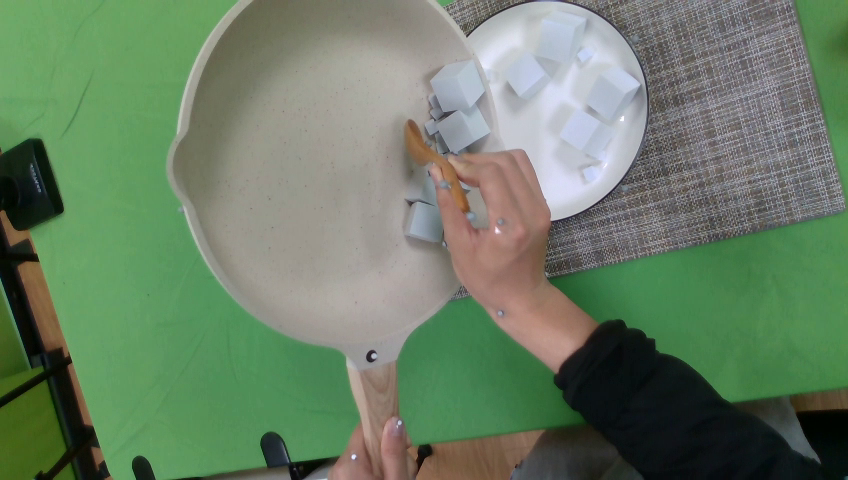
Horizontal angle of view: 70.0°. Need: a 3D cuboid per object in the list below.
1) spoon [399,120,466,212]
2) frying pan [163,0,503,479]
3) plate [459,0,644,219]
[{"bbox_3d":[0.005,-0.060,0.464,0.021,0.192,0.042,-25,115,-4],"label":"spoon"},{"bbox_3d":[-0.051,0.042,0.498,0.102,0.308,0.488,-2,94,51],"label":"frying pan"},{"bbox_3d":[0.107,-0.125,0.590,0.206,0.039,0.208,4,101,24],"label":"plate"}]
